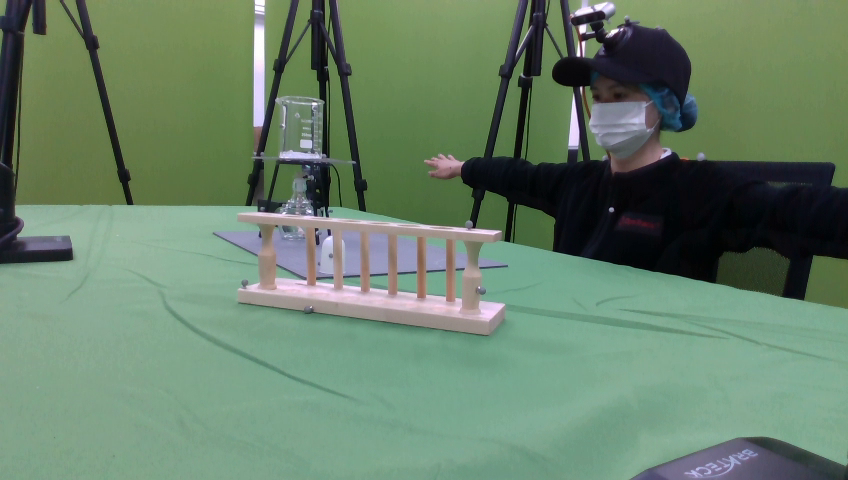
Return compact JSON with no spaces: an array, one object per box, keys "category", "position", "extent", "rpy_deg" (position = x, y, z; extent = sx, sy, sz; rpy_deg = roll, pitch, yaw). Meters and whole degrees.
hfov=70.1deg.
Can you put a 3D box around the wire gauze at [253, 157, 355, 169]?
[{"category":"wire gauze","position":[-0.197,-0.131,0.999],"extent":[0.121,0.011,0.125],"rpy_deg":[7,5,21]}]

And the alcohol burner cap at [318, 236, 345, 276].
[{"category":"alcohol burner cap","position":[-0.110,0.019,0.723],"extent":[0.034,0.048,0.034],"rpy_deg":[2,6,0]}]

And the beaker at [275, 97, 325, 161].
[{"category":"beaker","position":[-0.204,-0.179,0.989],"extent":[0.084,0.100,0.073],"rpy_deg":[-2,8,-40]}]

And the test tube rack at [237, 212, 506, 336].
[{"category":"test tube rack","position":[-0.049,0.024,0.552],"extent":[0.242,0.085,0.067],"rpy_deg":[5,8,18]}]

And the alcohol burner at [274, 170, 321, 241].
[{"category":"alcohol burner","position":[-0.212,-0.058,1.015],"extent":[0.078,0.119,0.078],"rpy_deg":[4,5,0]}]

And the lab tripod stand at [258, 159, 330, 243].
[{"category":"lab tripod stand","position":[-0.202,-0.067,1.010],"extent":[0.148,0.131,0.148],"rpy_deg":[2,5,0]}]
